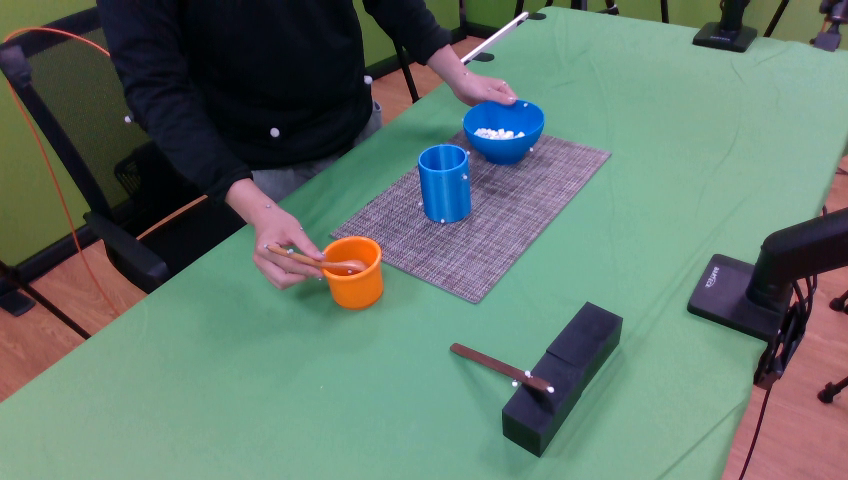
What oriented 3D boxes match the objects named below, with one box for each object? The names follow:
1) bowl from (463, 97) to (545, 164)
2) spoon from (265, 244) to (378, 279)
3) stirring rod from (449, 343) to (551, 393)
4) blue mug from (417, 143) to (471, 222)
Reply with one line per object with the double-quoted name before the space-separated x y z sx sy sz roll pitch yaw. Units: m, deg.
"bowl" 0.149 -0.195 1.123 0.151 0.077 0.150 -4 41 4
"spoon" -0.137 0.031 0.846 0.195 0.021 0.041 13 17 -44
"stirring rod" 0.088 0.154 0.741 0.014 0.006 0.174 -40 28 -25
"blue mug" 0.031 -0.104 1.014 0.082 0.106 0.115 -14 41 -7
